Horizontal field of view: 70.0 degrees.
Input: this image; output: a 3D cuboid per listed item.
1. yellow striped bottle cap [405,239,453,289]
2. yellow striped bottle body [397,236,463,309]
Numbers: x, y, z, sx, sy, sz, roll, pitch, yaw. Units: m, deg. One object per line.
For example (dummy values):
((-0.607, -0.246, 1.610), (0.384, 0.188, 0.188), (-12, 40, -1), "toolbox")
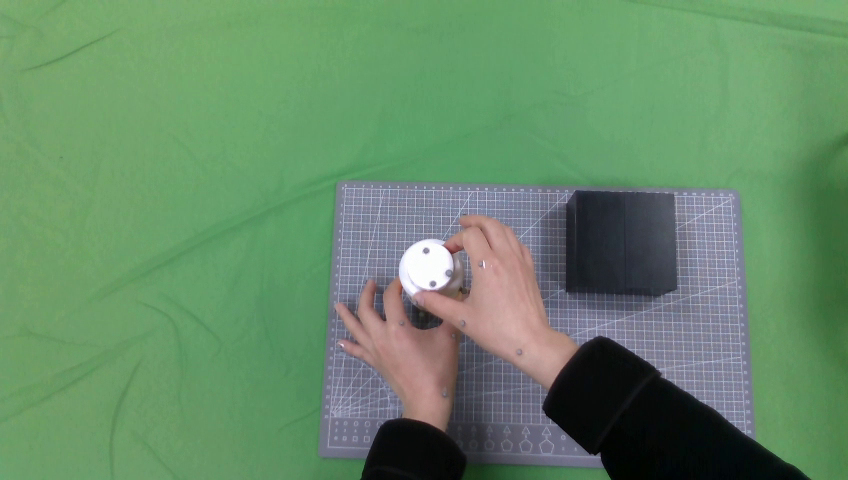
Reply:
((0.005, 0.022, 0.553), (0.044, 0.019, 0.044), (0, 80, 0), "yellow striped bottle cap")
((0.007, 0.033, 0.604), (0.063, 0.121, 0.062), (0, 79, 2), "yellow striped bottle body")
